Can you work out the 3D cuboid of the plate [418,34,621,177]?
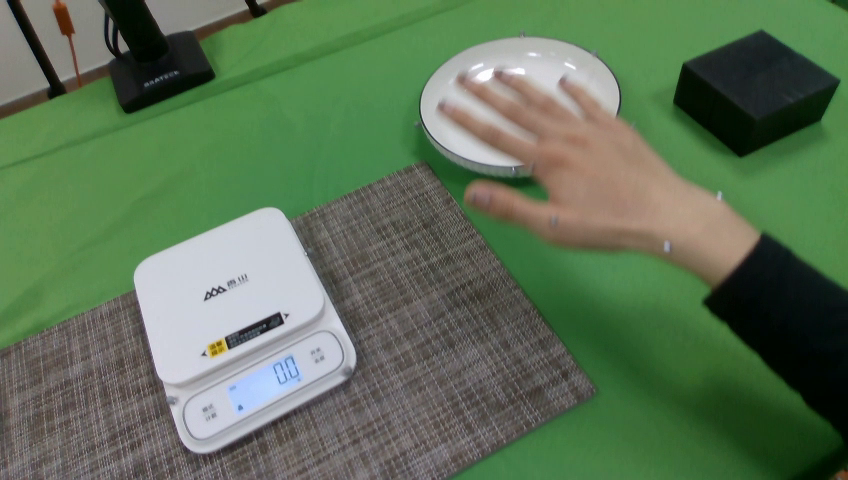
[{"bbox_3d":[0.099,-0.140,0.641,0.207,0.039,0.205,-4,53,6],"label":"plate"}]

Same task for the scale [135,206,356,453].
[{"bbox_3d":[-0.160,0.066,0.526,0.149,0.032,0.198,-27,54,-11],"label":"scale"}]
